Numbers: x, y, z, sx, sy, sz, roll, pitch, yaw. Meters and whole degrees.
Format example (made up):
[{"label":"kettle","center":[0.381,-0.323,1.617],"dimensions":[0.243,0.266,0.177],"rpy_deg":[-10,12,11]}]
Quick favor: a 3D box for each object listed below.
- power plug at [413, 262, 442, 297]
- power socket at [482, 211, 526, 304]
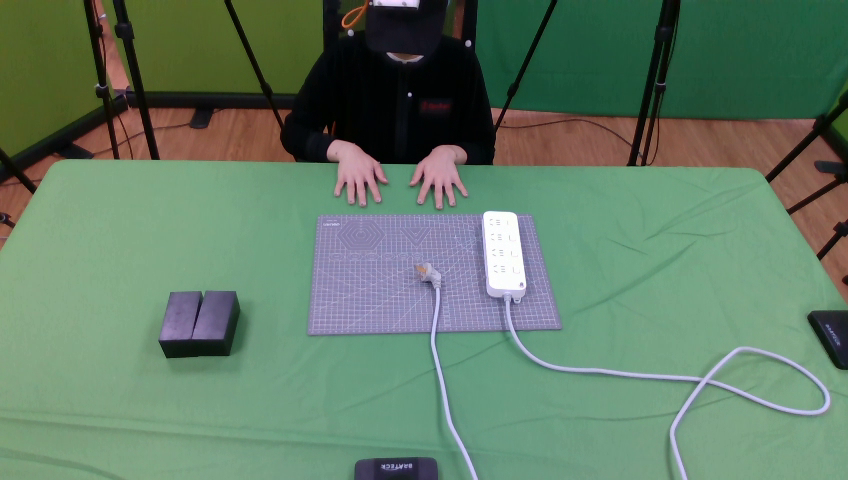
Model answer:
[{"label":"power plug","center":[0.007,0.068,1.112],"dimensions":[0.053,0.035,0.072],"rpy_deg":[12,25,-13]},{"label":"power socket","center":[0.153,0.025,1.173],"dimensions":[0.072,0.033,0.225],"rpy_deg":[2,46,-1]}]
